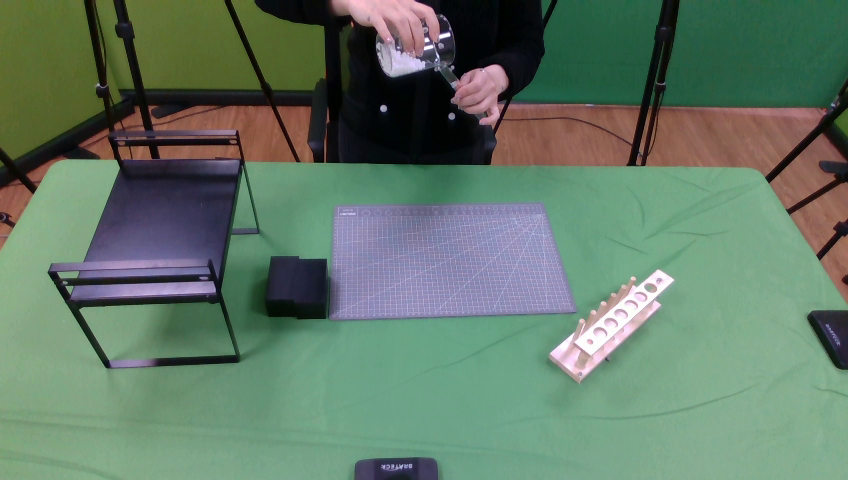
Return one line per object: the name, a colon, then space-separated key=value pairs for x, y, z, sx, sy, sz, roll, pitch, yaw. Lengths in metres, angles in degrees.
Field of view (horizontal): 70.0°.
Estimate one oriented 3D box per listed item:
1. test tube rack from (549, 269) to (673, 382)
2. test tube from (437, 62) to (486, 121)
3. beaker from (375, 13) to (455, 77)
test tube rack: x=0.325 y=0.134 z=1.047 sx=0.242 sy=0.085 sz=0.066 roll=-32 pitch=55 yaw=-30
test tube: x=0.064 y=-0.241 z=0.995 sx=0.017 sy=0.151 sz=0.017 roll=-16 pitch=58 yaw=28
beaker: x=-0.016 y=-0.284 z=0.899 sx=0.100 sy=0.084 sz=0.073 roll=-19 pitch=47 yaw=-18
